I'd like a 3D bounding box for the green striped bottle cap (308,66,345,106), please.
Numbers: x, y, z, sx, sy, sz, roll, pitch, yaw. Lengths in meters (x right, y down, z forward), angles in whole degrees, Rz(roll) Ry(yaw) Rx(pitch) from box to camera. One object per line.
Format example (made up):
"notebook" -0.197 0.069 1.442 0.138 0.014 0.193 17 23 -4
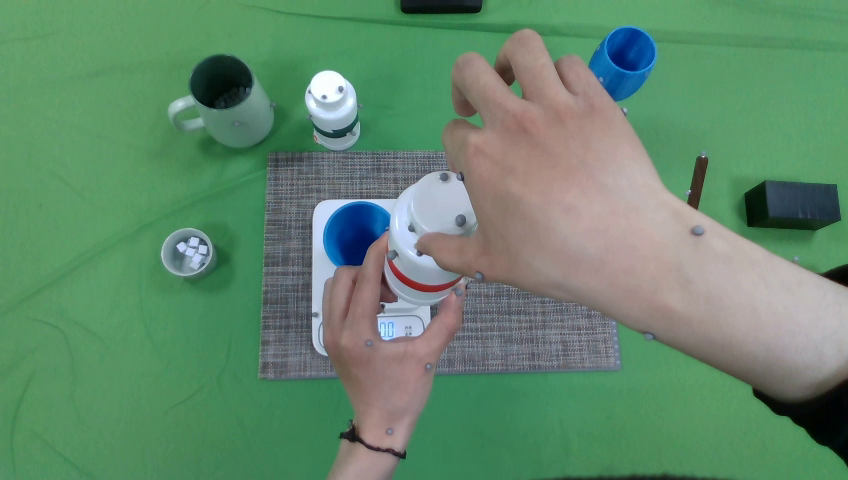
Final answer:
"green striped bottle cap" -0.118 -0.186 0.730 0.044 0.020 0.044 1 75 -3

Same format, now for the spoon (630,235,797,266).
"spoon" 0.348 0.018 0.746 0.022 0.192 0.041 20 80 -43

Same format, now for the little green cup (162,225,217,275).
"little green cup" -0.293 0.015 0.765 0.061 0.039 0.061 1 76 -4

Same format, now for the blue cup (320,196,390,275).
"blue cup" -0.073 0.003 0.714 0.093 0.100 0.092 1 78 -3

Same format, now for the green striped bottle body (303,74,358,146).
"green striped bottle body" -0.120 -0.173 0.780 0.063 0.119 0.063 1 75 -3

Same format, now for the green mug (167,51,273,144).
"green mug" -0.265 -0.175 0.780 0.125 0.105 0.092 -23 79 -8

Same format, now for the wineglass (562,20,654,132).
"wineglass" 0.231 -0.205 0.780 0.074 0.173 0.073 1 76 -2

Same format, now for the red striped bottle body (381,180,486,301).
"red striped bottle body" 0.005 -0.002 0.414 0.063 0.120 0.062 3 69 -7

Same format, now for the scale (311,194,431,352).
"scale" -0.069 0.039 0.773 0.149 0.031 0.200 -2 77 -3

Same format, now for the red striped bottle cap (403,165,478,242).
"red striped bottle cap" 0.010 -0.022 0.360 0.045 0.018 0.044 3 72 -10

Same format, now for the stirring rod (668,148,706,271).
"stirring rod" 0.327 -0.033 0.757 0.014 0.177 0.006 4 35 11
